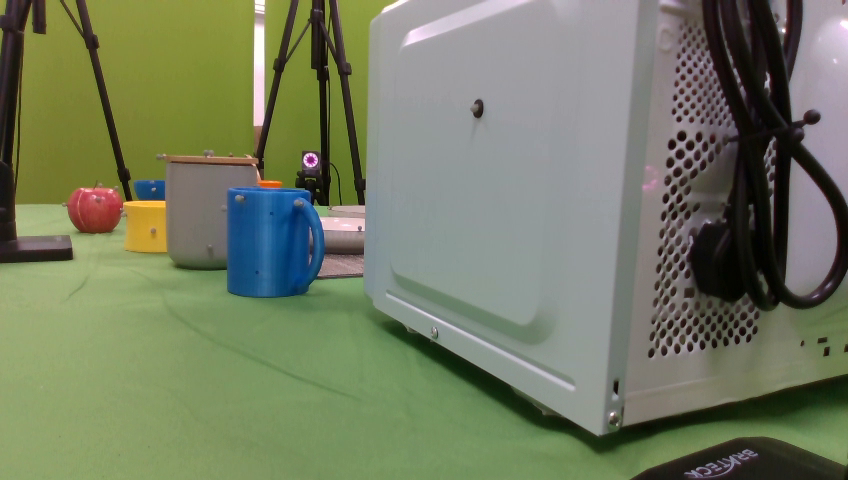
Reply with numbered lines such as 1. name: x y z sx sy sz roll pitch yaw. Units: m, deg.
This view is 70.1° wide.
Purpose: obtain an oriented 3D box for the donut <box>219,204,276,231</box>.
1. donut: -0.316 -0.039 1.083 0.099 0.048 0.099 2 7 0

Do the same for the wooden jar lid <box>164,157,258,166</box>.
1. wooden jar lid: -0.261 -0.093 0.746 0.108 0.020 0.108 0 9 0

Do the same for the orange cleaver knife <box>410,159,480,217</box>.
1. orange cleaver knife: 0.043 -0.085 1.134 0.012 0.077 0.212 -4 -18 38

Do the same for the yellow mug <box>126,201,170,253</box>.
1. yellow mug: -0.361 -0.019 0.866 0.130 0.064 0.100 6 9 27

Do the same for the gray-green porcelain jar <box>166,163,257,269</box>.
1. gray-green porcelain jar: -0.263 -0.031 0.754 0.106 0.126 0.106 2 7 0

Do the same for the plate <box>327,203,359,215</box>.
1. plate: -0.102 -0.053 1.299 0.209 0.038 0.209 2 8 0

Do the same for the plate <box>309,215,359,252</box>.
1. plate: -0.130 -0.011 0.945 0.208 0.039 0.207 2 8 0

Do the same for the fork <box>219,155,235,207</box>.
1. fork: -0.459 -0.134 1.415 0.028 0.018 0.207 -1 -34 -24

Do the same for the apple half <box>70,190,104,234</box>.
1. apple half: -0.552 -0.048 1.010 0.053 0.074 0.081 -1 10 26

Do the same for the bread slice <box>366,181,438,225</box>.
1. bread slice: -0.048 -0.069 1.138 0.107 0.018 0.134 -8 -23 -41

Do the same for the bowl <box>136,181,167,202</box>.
1. bowl: -0.497 -0.076 1.221 0.151 0.077 0.151 2 8 0

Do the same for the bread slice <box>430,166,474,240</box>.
1. bread slice: 0.052 -0.064 1.059 0.019 0.131 0.105 12 12 37

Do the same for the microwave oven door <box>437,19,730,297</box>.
1. microwave oven door: 0.181 -0.076 0.618 0.358 0.243 0.039 -2 9 -28

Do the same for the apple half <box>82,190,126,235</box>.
1. apple half: -0.516 -0.046 0.994 0.032 0.081 0.081 0 6 26

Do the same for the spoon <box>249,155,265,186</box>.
1. spoon: -0.417 -0.150 1.543 0.042 0.193 0.021 -3 -35 -34

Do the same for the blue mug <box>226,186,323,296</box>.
1. blue mug: -0.148 0.000 0.618 0.116 0.106 0.083 7 9 33

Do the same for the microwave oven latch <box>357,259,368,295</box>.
1. microwave oven latch: -0.019 0.031 0.529 0.079 0.029 0.030 -1 7 -26

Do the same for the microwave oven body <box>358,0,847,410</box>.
1. microwave oven body: 0.210 -0.051 0.471 0.444 0.260 0.324 -1 7 -28
